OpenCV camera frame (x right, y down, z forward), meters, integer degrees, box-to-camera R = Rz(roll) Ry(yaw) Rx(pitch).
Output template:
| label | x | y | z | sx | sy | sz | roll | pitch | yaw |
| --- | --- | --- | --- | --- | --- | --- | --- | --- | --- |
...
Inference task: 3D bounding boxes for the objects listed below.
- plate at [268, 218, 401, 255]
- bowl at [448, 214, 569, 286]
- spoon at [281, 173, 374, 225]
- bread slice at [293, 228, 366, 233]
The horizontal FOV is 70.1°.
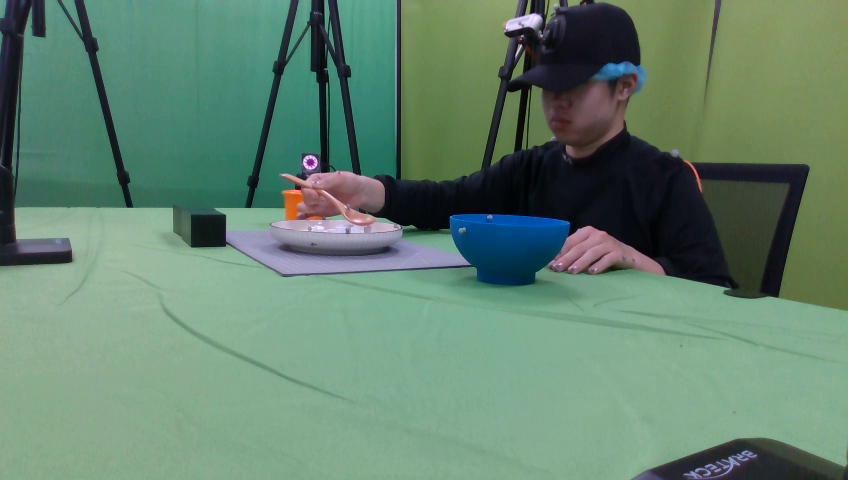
| label | x | y | z | sx | sy | sz | roll | pitch | yaw |
| --- | --- | --- | --- | --- | --- | --- | --- | --- | --- |
| plate | -0.140 | -0.006 | 0.958 | 0.209 | 0.038 | 0.209 | 3 | 7 | 0 |
| bowl | 0.103 | 0.012 | 0.758 | 0.151 | 0.077 | 0.151 | 2 | 7 | 0 |
| spoon | -0.161 | -0.069 | 0.986 | 0.193 | 0.021 | 0.042 | 32 | 31 | 21 |
| bread slice | -0.143 | -0.003 | 0.953 | 0.135 | 0.018 | 0.106 | -1 | 9 | -37 |
